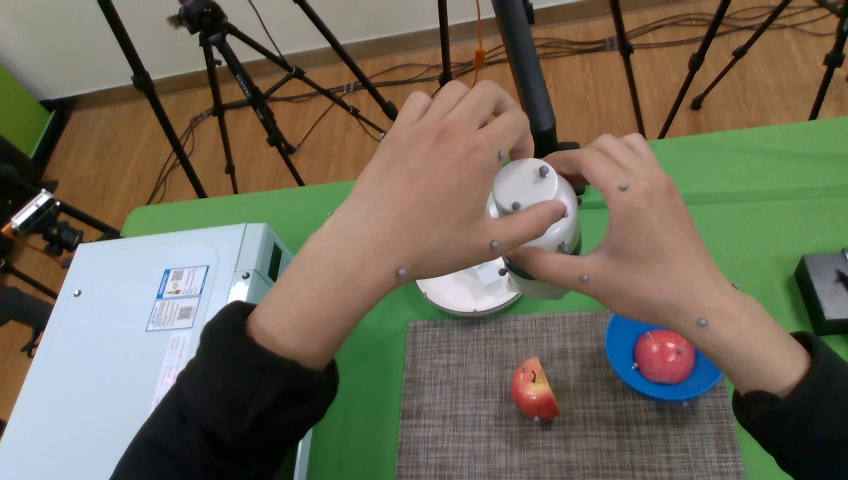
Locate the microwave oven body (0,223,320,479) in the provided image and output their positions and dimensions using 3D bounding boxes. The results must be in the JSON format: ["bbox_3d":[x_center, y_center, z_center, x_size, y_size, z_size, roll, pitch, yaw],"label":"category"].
[{"bbox_3d":[-0.349,0.238,0.837,0.325,0.263,0.437,-6,57,12],"label":"microwave oven body"}]

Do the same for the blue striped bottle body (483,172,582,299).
[{"bbox_3d":[0.080,-0.007,0.440,0.063,0.122,0.062,-8,61,14],"label":"blue striped bottle body"}]

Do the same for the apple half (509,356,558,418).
[{"bbox_3d":[0.144,0.206,0.826,0.053,0.075,0.080,-24,58,5],"label":"apple half"}]

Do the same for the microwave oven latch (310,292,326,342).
[{"bbox_3d":[-0.177,0.126,0.980,0.030,0.030,0.078,-7,57,12],"label":"microwave oven latch"}]

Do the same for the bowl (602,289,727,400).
[{"bbox_3d":[0.316,0.149,0.809,0.151,0.077,0.150,-8,56,12],"label":"bowl"}]

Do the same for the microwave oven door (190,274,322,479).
[{"bbox_3d":[-0.210,0.253,0.779,0.039,0.246,0.352,-7,56,12],"label":"microwave oven door"}]

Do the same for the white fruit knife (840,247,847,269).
[{"bbox_3d":[0.564,0.106,0.762,0.016,0.027,0.206,-20,70,25],"label":"white fruit knife"}]

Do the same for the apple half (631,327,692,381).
[{"bbox_3d":[0.316,0.147,0.804,0.081,0.033,0.080,-8,54,12],"label":"apple half"}]

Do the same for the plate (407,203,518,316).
[{"bbox_3d":[0.076,0.034,0.988,0.207,0.039,0.205,-7,56,12],"label":"plate"}]

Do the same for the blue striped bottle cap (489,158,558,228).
[{"bbox_3d":[0.064,-0.031,0.396,0.044,0.021,0.044,-7,60,12],"label":"blue striped bottle cap"}]
